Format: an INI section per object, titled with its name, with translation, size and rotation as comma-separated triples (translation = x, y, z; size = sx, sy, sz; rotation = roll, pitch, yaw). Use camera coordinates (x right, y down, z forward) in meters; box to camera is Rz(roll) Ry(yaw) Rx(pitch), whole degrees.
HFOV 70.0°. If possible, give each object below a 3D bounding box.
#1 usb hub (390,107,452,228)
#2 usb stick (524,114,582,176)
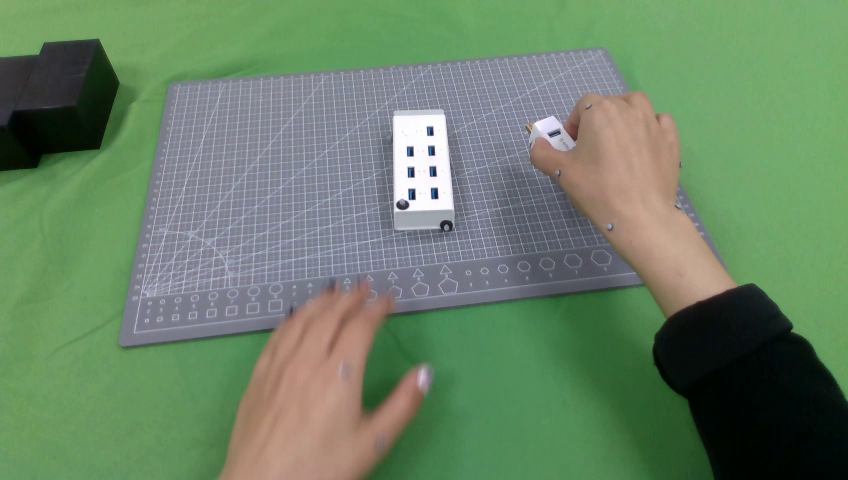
[usb hub]
translation = -0.005, -0.065, 0.518
size = 0.049, 0.025, 0.124
rotation = -2, 51, -1
[usb stick]
translation = 0.103, -0.083, 0.498
size = 0.021, 0.027, 0.058
rotation = -24, 59, -14
